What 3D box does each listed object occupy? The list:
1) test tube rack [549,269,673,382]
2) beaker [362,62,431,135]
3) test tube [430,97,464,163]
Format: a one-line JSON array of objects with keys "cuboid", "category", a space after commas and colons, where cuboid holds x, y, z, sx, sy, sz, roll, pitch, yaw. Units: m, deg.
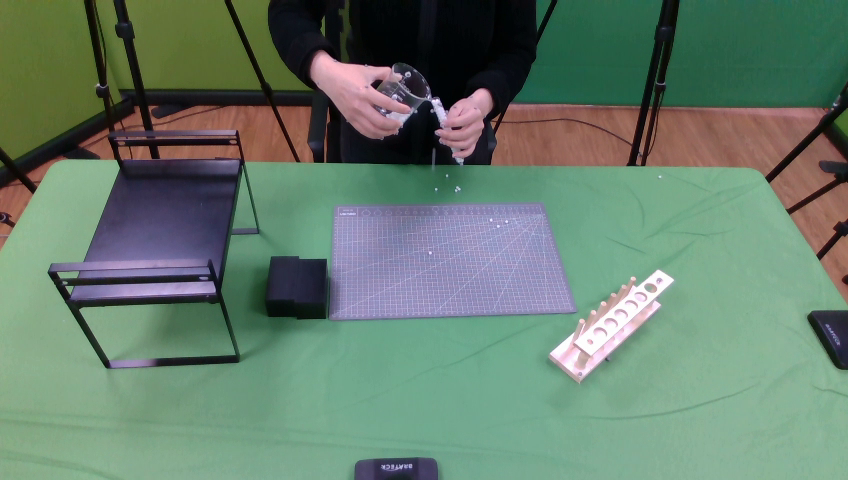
[{"cuboid": [0.325, 0.134, 1.047, 0.242, 0.085, 0.066, -32, 56, -30], "category": "test tube rack"}, {"cuboid": [-0.048, -0.227, 0.995, 0.084, 0.100, 0.073, 33, 41, -18], "category": "beaker"}, {"cuboid": [0.042, -0.187, 1.048, 0.017, 0.151, 0.017, -12, 50, 15], "category": "test tube"}]
